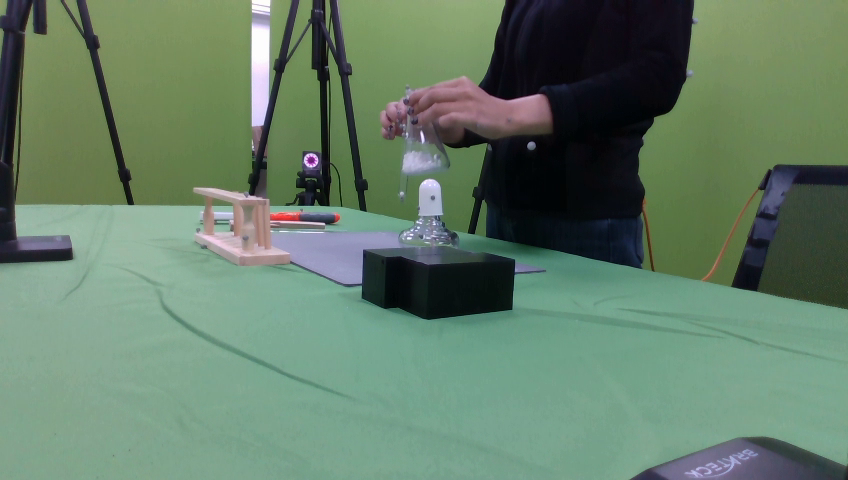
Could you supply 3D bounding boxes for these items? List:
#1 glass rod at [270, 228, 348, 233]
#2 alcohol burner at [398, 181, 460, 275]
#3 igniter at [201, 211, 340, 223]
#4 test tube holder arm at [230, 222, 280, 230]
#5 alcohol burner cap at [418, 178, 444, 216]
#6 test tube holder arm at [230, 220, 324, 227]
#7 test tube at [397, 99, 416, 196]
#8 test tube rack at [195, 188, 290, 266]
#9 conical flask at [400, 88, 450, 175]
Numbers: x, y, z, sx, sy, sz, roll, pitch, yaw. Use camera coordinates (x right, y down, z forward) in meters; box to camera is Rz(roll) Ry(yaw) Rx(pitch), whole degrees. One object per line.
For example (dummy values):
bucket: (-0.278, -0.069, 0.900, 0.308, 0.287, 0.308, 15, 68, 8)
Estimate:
glass rod: (-0.234, -0.017, 1.105, 0.201, 0.008, 0.008, 1, 7, -26)
alcohol burner: (0.007, -0.017, 0.751, 0.078, 0.119, 0.078, 3, 10, 0)
igniter: (-0.311, -0.048, 1.243, 0.278, 0.025, 0.057, -1, -2, -24)
test tube holder arm: (-0.312, -0.025, 1.118, 0.088, 0.015, 0.010, -1, 44, -30)
alcohol burner cap: (0.007, -0.053, 0.745, 0.034, 0.048, 0.034, -3, 6, 1)
test tube holder arm: (-0.275, -0.030, 1.145, 0.179, 0.015, 0.013, -2, 45, -31)
test tube: (-0.028, -0.143, 0.944, 0.017, 0.150, 0.017, 6, 13, -1)
test tube rack: (-0.266, -0.025, 0.864, 0.067, 0.085, 0.241, -2, 9, -33)
conical flask: (-0.004, -0.159, 0.888, 0.075, 0.122, 0.075, -7, 3, 1)
